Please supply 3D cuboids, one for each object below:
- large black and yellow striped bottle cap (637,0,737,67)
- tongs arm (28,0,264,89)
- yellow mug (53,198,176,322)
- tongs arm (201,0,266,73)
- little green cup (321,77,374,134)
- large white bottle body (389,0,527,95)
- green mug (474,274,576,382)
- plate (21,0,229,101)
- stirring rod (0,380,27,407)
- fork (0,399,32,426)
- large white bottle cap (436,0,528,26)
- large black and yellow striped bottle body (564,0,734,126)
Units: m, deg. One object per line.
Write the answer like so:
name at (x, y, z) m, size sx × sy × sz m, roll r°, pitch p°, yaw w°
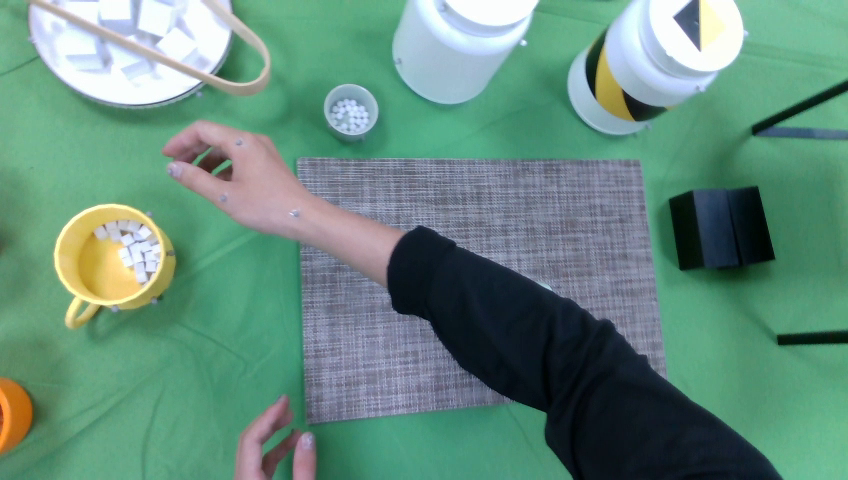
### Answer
large black and yellow striped bottle cap at (0.284, -0.243, 0.651) m, size 0.115 × 0.019 × 0.114 m, roll 2°, pitch 82°, yaw -14°
tongs arm at (-0.355, -0.248, 0.629) m, size 0.386 × 0.026 × 0.050 m, roll 26°, pitch 73°, yaw -6°
yellow mug at (-0.319, 0.025, 0.615) m, size 0.100 × 0.064 × 0.130 m, roll 31°, pitch 77°, yaw -8°
tongs arm at (-0.315, -0.317, 0.650) m, size 0.388 × 0.028 × 0.028 m, roll 40°, pitch 69°, yaw -3°
little green cup at (-0.091, -0.155, 0.710) m, size 0.062 × 0.038 × 0.061 m, roll 2°, pitch 82°, yaw -12°
large white bottle body at (0.037, -0.257, 0.680) m, size 0.131 × 0.184 × 0.130 m, roll 2°, pitch 80°, yaw -12°
green mug at (0.115, 0.099, 0.683) m, size 0.093 × 0.105 × 0.125 m, roll 14°, pitch 78°, yaw -10°
plate at (-0.322, -0.250, 0.670) m, size 0.208 × 0.039 × 0.207 m, roll 2°, pitch 82°, yaw -13°
stirring rod at (-0.430, 0.177, 0.528) m, size 0.014 × 0.006 × 0.175 m, roll 48°, pitch 32°, yaw -3°
fork at (-0.452, 0.141, 0.522) m, size 0.209 × 0.018 × 0.028 m, roll 30°, pitch 66°, yaw -52°
large white bottle cap at (0.056, -0.269, 0.599) m, size 0.115 × 0.018 × 0.114 m, roll 2°, pitch 82°, yaw -13°
large black and yellow striped bottle body at (0.266, -0.228, 0.731) m, size 0.131 × 0.184 × 0.130 m, roll 2°, pitch 80°, yaw -12°
